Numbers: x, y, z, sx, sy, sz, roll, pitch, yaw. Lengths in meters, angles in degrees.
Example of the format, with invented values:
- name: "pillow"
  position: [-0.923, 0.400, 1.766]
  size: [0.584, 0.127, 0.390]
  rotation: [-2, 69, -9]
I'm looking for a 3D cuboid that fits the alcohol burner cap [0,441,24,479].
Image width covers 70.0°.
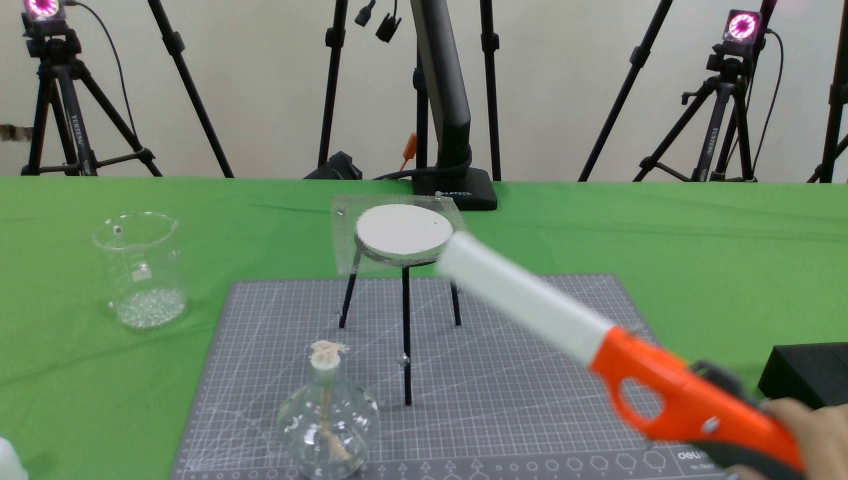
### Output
- name: "alcohol burner cap"
  position: [-0.315, 0.166, 0.439]
  size: [0.034, 0.048, 0.033]
  rotation: [4, 29, -2]

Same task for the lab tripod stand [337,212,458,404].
- name: "lab tripod stand"
  position: [-0.019, 0.054, 0.561]
  size: [0.148, 0.132, 0.147]
  rotation: [4, 32, -2]

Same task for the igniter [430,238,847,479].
- name: "igniter"
  position: [0.114, 0.074, 0.362]
  size: [0.274, 0.057, 0.025]
  rotation: [31, 19, 30]

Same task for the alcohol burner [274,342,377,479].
- name: "alcohol burner"
  position: [-0.074, 0.124, 0.457]
  size: [0.078, 0.120, 0.077]
  rotation: [4, 30, -2]

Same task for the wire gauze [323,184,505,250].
- name: "wire gauze"
  position: [-0.011, -0.020, 0.523]
  size: [0.125, 0.011, 0.120]
  rotation: [-8, 27, -31]

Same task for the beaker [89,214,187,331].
- name: "beaker"
  position: [-0.280, 0.033, 0.611]
  size: [0.073, 0.101, 0.084]
  rotation: [29, 39, 35]
